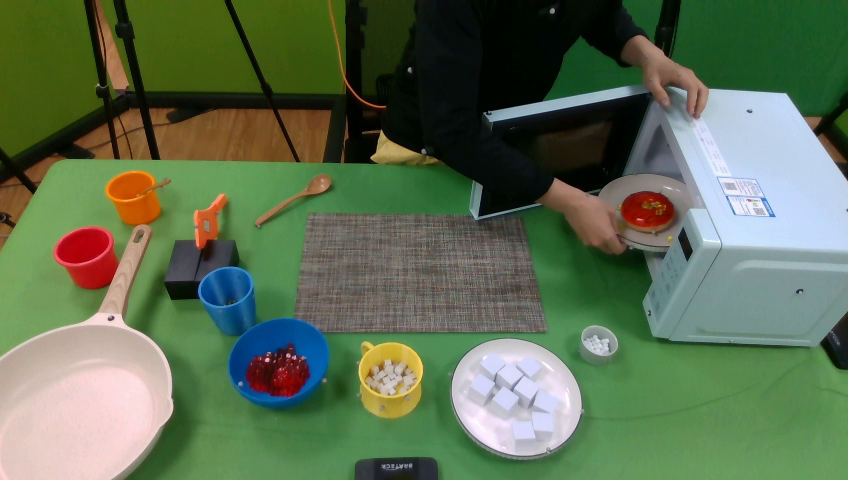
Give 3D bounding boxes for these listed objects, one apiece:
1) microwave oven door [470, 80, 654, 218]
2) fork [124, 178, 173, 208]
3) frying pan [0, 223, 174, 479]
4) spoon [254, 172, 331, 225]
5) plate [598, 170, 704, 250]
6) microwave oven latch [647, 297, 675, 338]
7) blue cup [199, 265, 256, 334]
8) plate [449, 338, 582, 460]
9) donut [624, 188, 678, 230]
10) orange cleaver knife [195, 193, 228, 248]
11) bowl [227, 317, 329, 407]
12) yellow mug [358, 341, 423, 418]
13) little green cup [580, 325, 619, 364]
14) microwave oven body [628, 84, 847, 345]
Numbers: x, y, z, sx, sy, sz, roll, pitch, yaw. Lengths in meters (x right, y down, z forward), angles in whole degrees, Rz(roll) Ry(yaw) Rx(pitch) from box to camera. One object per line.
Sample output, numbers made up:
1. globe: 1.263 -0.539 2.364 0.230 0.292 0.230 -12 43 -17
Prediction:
1. microwave oven door: 0.272 -0.180 1.206 0.356 0.245 0.039 -14 49 -16
2. fork: -0.525 -0.090 1.154 0.207 0.019 0.028 -17 27 45
3. frying pan: -0.504 0.169 0.941 0.307 0.103 0.485 5 54 -1
4. spoon: -0.272 -0.087 1.257 0.041 0.022 0.193 45 57 13
5. plate: 0.440 -0.054 1.165 0.209 0.038 0.208 -3 46 3
6. microwave oven latch: 0.413 0.133 1.060 0.030 0.029 0.078 5 46 2
7. blue cup: -0.321 0.107 1.014 0.093 0.101 0.092 2 48 -2
8. plate: 0.141 0.251 0.955 0.208 0.039 0.206 2 46 -2
9. donut: 0.432 -0.060 1.157 0.099 0.048 0.098 -8 44 8
10. orange cleaver knife: -0.406 -0.041 1.163 0.012 0.077 0.210 0 18 -3
11. bowl: -0.222 0.203 0.947 0.151 0.077 0.150 2 46 -2
12. yellow mug: -0.062 0.210 0.961 0.100 0.064 0.130 -29 54 -27
13. little green cup: 0.296 0.180 1.032 0.061 0.039 0.061 1 45 -1
14. microwave oven body: 0.568 -0.054 1.116 0.326 0.261 0.439 2 46 -1
